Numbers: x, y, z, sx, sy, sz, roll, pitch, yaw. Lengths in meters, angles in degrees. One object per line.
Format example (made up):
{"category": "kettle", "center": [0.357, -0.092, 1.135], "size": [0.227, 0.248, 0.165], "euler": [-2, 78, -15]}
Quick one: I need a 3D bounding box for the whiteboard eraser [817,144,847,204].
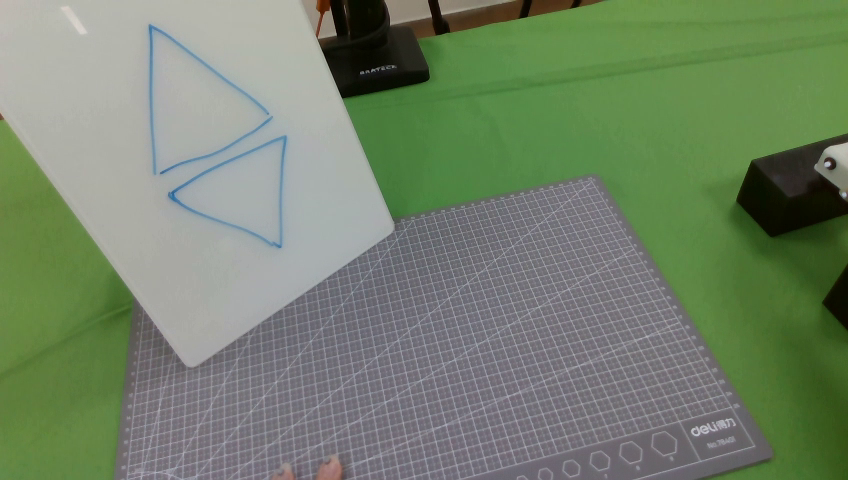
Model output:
{"category": "whiteboard eraser", "center": [0.365, -0.034, 0.463], "size": [0.055, 0.042, 0.111], "euler": [-20, 47, -6]}

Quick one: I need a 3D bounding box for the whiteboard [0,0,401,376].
{"category": "whiteboard", "center": [-0.188, -0.089, 0.503], "size": [0.217, 0.308, 0.142], "euler": [-35, 33, -22]}
